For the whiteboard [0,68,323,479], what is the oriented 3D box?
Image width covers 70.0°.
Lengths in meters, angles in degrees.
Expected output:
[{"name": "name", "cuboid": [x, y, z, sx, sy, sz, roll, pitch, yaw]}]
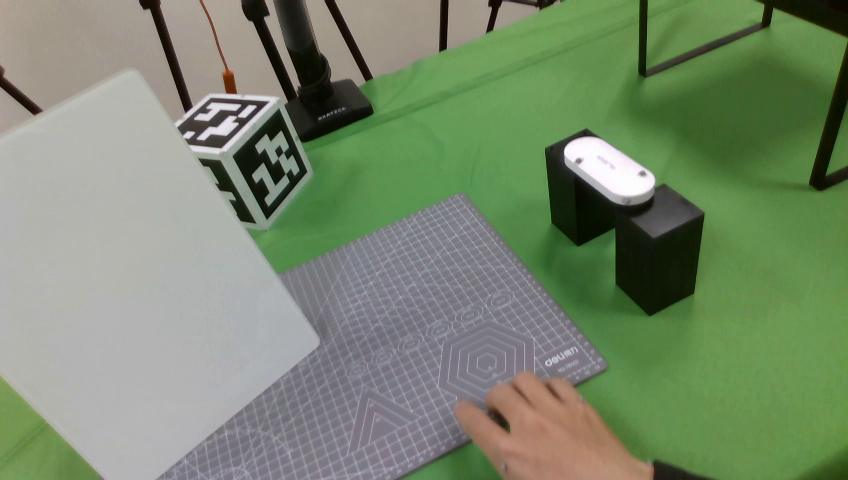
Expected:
[{"name": "whiteboard", "cuboid": [-0.279, 0.037, 0.558, 0.217, 0.308, 0.142, -39, 27, -22]}]

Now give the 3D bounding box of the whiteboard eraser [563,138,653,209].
[{"name": "whiteboard eraser", "cuboid": [0.164, -0.063, 0.548, 0.041, 0.019, 0.100, -25, 43, -12]}]
